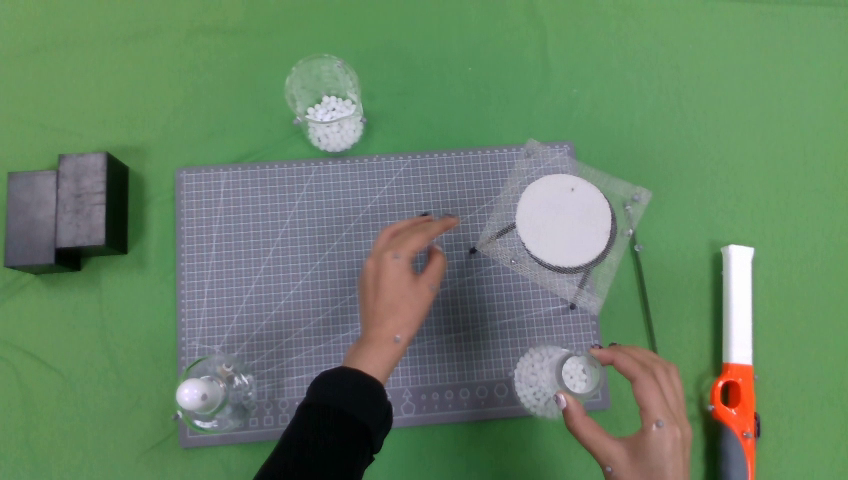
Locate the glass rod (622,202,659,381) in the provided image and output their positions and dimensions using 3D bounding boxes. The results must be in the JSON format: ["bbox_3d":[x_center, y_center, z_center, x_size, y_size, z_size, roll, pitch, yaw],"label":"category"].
[{"bbox_3d":[0.237,0.054,0.667,0.008,0.008,0.199,-6,79,-3],"label":"glass rod"}]

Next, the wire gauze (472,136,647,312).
[{"bbox_3d":[0.122,-0.018,0.542,0.125,0.011,0.121,27,81,4],"label":"wire gauze"}]

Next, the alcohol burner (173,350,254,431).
[{"bbox_3d":[-0.206,0.144,0.578,0.078,0.119,0.077,0,80,0],"label":"alcohol burner"}]

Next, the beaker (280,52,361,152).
[{"bbox_3d":[-0.103,-0.141,0.647,0.084,0.100,0.074,31,80,4],"label":"beaker"}]

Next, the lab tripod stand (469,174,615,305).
[{"bbox_3d":[0.123,-0.003,0.608,0.148,0.132,0.148,0,80,0],"label":"lab tripod stand"}]

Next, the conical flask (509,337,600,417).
[{"bbox_3d":[0.120,0.118,0.534,0.075,0.122,0.075,0,75,-1],"label":"conical flask"}]

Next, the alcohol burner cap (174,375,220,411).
[{"bbox_3d":[-0.205,0.136,0.543,0.034,0.048,0.033,1,72,-4],"label":"alcohol burner cap"}]

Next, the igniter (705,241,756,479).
[{"bbox_3d":[0.327,0.138,0.645,0.057,0.025,0.275,9,79,-11],"label":"igniter"}]
